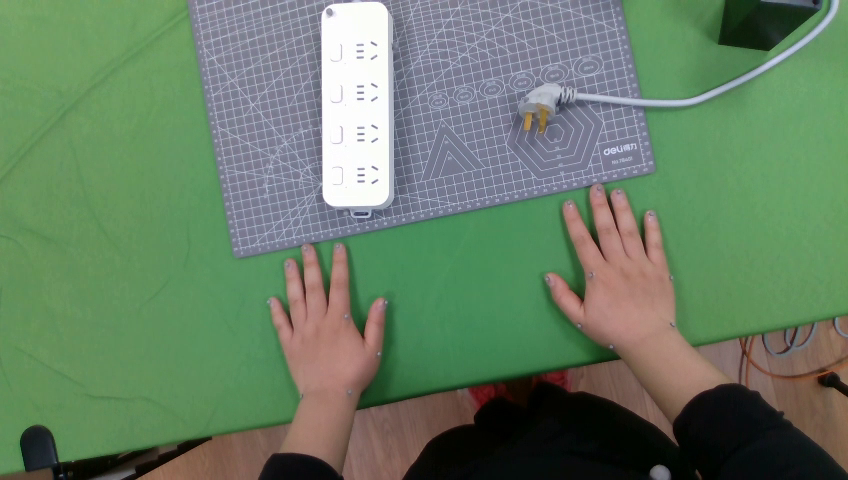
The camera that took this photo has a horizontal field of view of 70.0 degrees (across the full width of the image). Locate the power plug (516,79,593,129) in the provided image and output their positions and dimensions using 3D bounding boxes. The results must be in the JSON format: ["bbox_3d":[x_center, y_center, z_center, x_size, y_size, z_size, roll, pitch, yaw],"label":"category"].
[{"bbox_3d":[0.127,-0.134,0.598,0.072,0.035,0.052,4,71,18],"label":"power plug"}]

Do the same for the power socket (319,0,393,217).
[{"bbox_3d":[-0.070,-0.138,0.627,0.072,0.032,0.226,-1,89,6],"label":"power socket"}]
